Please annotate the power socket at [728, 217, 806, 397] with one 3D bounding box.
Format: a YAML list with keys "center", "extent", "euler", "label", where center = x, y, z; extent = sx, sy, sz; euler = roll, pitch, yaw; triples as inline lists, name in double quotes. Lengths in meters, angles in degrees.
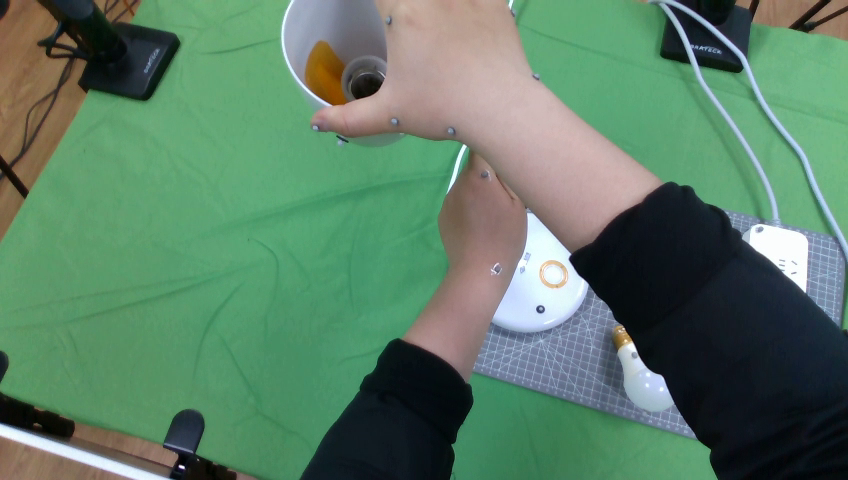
- center: [0.413, 0.073, 0.727]
  extent: [0.072, 0.033, 0.225]
  euler: [14, 69, 7]
  label: "power socket"

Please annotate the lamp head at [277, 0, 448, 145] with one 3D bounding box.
- center: [-0.038, -0.119, 0.445]
  extent: [0.112, 0.123, 0.112]
  euler: [0, 76, 2]
  label: "lamp head"

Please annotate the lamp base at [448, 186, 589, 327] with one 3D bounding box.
- center: [0.109, 0.000, 0.693]
  extent: [0.179, 0.181, 0.159]
  euler: [9, 68, 10]
  label: "lamp base"

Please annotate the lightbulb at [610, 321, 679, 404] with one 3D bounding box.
- center: [0.249, 0.138, 0.701]
  extent: [0.059, 0.060, 0.106]
  euler: [-20, 52, -5]
  label: "lightbulb"
